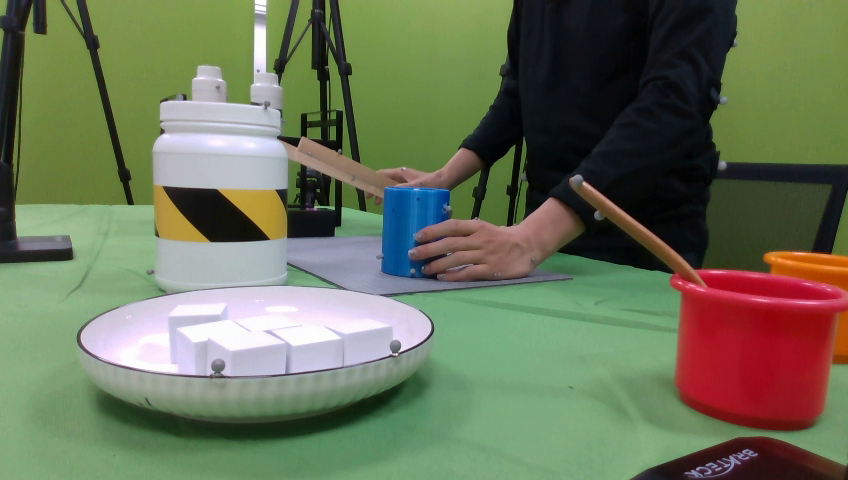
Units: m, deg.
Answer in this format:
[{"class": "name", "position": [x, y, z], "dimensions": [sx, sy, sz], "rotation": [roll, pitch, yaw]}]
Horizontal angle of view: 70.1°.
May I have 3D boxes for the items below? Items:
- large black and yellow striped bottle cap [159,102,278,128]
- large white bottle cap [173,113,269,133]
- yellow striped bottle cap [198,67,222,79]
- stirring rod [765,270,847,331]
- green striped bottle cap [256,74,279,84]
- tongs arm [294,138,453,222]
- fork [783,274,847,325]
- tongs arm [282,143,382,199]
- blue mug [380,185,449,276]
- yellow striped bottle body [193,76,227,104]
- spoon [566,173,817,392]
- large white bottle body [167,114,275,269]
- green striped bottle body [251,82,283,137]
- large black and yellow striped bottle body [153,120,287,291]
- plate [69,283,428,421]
[{"class": "large black and yellow striped bottle cap", "position": [-0.207, -0.125, 0.615], "dimensions": [0.115, 0.019, 0.115], "rotation": [2, 6, 0]}, {"class": "large white bottle cap", "position": [-0.254, -0.146, 0.760], "dimensions": [0.115, 0.018, 0.115], "rotation": [1, 7, 0]}, {"class": "yellow striped bottle cap", "position": [-0.411, -0.320, 1.163], "dimensions": [0.044, 0.018, 0.044], "rotation": [0, 6, 0]}, {"class": "stirring rod", "position": [0.352, 0.020, 0.484], "dimensions": [0.176, 0.006, 0.014], "rotation": [-40, -7, 13]}, {"class": "green striped bottle cap", "position": [-0.314, -0.321, 1.214], "dimensions": [0.044, 0.020, 0.044], "rotation": [2, 8, 0]}, {"class": "tongs arm", "position": [-0.079, -0.102, 1.116], "dimensions": [0.387, 0.026, 0.050], "rotation": [21, -9, -39]}, {"class": "fork", "position": [0.332, 0.018, 0.443], "dimensions": [0.028, 0.018, 0.207], "rotation": [-1, -36, -15]}, {"class": "tongs arm", "position": [-0.114, -0.107, 1.162], "dimensions": [0.390, 0.028, 0.028], "rotation": [21, -12, -32]}, {"class": "blue mug", "position": [-0.018, -0.016, 0.764], "dimensions": [0.083, 0.106, 0.116], "rotation": [-2, 8, -25]}, {"class": "yellow striped bottle body", "position": [-0.414, -0.268, 1.169], "dimensions": [0.063, 0.120, 0.063], "rotation": [2, 7, 0]}, {"class": "spoon", "position": [0.161, 0.024, 0.370], "dimensions": [0.193, 0.021, 0.042], "rotation": [47, 17, 3]}, {"class": "large white bottle body", "position": [-0.257, -0.063, 0.771], "dimensions": [0.131, 0.184, 0.130], "rotation": [2, 7, 0]}, {"class": "green striped bottle body", "position": [-0.317, -0.270, 1.220], "dimensions": [0.063, 0.119, 0.063], "rotation": [2, 7, 0]}, {"class": "large black and yellow striped bottle body", "position": [-0.208, -0.042, 0.626], "dimensions": [0.131, 0.184, 0.130], "rotation": [2, 7, 0]}, {"class": "plate", "position": [-0.102, 0.066, 0.381], "dimensions": [0.208, 0.039, 0.207], "rotation": [2, 7, 0]}]
